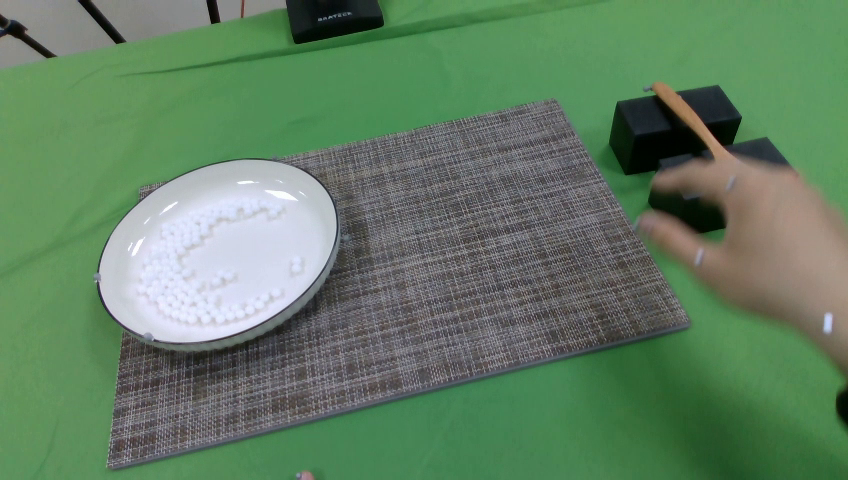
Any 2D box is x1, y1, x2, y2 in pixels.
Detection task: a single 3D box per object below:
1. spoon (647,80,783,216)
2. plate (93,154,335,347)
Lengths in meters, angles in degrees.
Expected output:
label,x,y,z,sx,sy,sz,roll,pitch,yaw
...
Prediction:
label,x,y,z,sx,sy,sz,roll,pitch,yaw
spoon,0.239,-0.087,0.518,0.041,0.022,0.191,-27,49,13
plate,-0.179,0.008,0.537,0.207,0.039,0.205,-3,50,4
